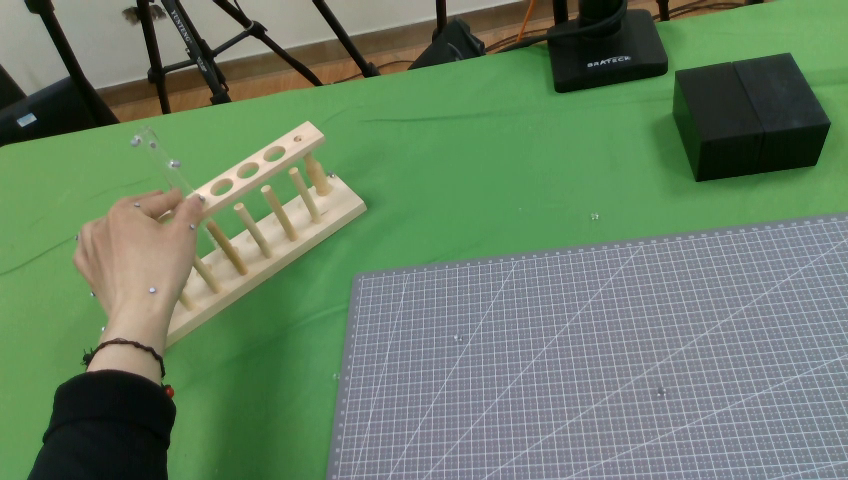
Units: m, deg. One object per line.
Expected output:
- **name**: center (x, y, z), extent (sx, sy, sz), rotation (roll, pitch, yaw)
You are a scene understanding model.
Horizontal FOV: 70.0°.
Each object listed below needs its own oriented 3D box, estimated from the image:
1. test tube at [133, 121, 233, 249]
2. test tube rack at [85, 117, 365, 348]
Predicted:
- **test tube**: center (-0.217, -0.045, 0.557), extent (0.017, 0.152, 0.017), rotation (-11, 44, 11)
- **test tube rack**: center (-0.183, -0.010, 0.586), extent (0.242, 0.086, 0.066), rotation (-36, 50, -13)
